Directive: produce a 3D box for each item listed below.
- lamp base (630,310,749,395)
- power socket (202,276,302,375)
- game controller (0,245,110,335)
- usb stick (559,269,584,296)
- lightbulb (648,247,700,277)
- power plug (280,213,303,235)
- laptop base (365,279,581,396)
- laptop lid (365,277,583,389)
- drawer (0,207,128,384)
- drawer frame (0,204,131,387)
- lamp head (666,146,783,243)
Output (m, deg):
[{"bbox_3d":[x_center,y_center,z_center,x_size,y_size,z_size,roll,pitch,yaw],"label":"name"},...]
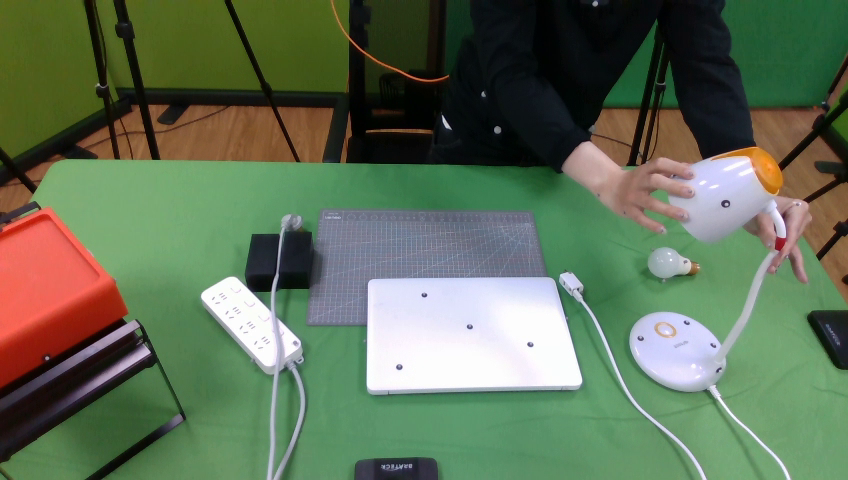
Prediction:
[{"bbox_3d":[0.447,0.143,0.984,0.161,0.181,0.178,-24,55,-24],"label":"lamp base"},{"bbox_3d":[-0.296,0.142,1.034,0.072,0.033,0.225,-34,58,-30],"label":"power socket"},{"bbox_3d":[-0.510,0.062,0.830,0.097,0.052,0.154,-30,58,-30],"label":"game controller"},{"bbox_3d":[0.274,0.077,1.142,0.027,0.021,0.059,-11,39,-13],"label":"usb stick"},{"bbox_3d":[0.485,0.046,1.170,0.108,0.060,0.059,10,45,-15],"label":"lightbulb"},{"bbox_3d":[-0.263,-0.021,1.184,0.035,0.053,0.072,-2,47,32],"label":"power plug"},{"bbox_3d":[0.077,0.162,1.053,0.355,0.023,0.234,0,44,-4],"label":"laptop base"},{"bbox_3d":[0.077,0.152,1.046,0.357,0.013,0.240,1,45,-3],"label":"laptop lid"},{"bbox_3d":[-0.540,0.074,0.799,0.193,0.073,0.211,37,55,27],"label":"drawer"},{"bbox_3d":[-0.539,0.075,0.795,0.200,0.083,0.213,36,55,26],"label":"drawer frame"},{"bbox_3d":[0.408,-0.065,0.805,0.113,0.123,0.112,16,62,-31],"label":"lamp head"}]
